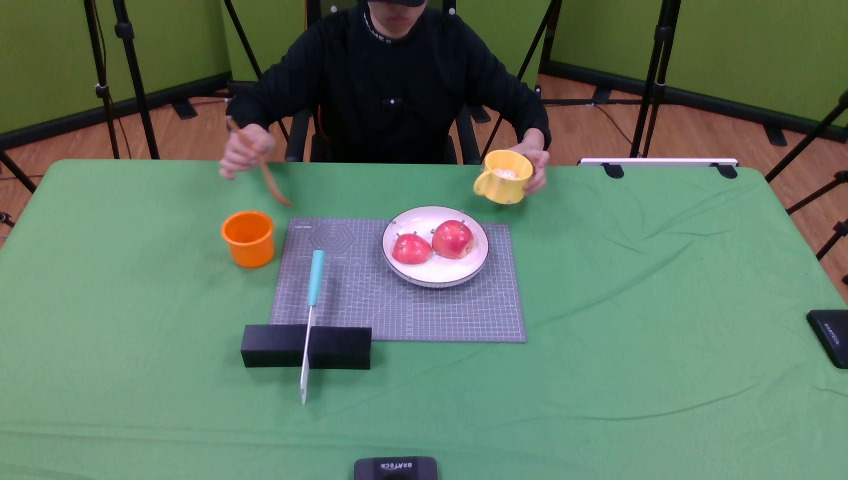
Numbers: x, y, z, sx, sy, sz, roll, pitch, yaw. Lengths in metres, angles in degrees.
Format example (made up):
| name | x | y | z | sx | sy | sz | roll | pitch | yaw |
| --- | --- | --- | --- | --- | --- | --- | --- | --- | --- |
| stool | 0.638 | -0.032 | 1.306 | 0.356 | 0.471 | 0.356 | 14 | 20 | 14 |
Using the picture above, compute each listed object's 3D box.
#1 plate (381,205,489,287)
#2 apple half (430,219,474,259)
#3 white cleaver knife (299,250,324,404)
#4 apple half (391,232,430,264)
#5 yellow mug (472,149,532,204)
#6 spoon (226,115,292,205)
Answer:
| name | x | y | z | sx | sy | sz | roll | pitch | yaw |
| --- | --- | --- | --- | --- | --- | --- | --- | --- | --- |
| plate | 0.021 | 0.015 | 1.170 | 0.209 | 0.038 | 0.208 | 2 | 46 | -2 |
| apple half | 0.056 | -0.008 | 1.172 | 0.081 | 0.053 | 0.074 | -33 | 59 | -31 |
| white cleaver knife | -0.194 | 0.134 | 1.019 | 0.021 | 0.066 | 0.284 | 5 | 50 | -6 |
| apple half | -0.024 | 0.009 | 1.163 | 0.081 | 0.033 | 0.081 | 2 | 43 | -2 |
| yellow mug | 0.151 | -0.126 | 1.227 | 0.131 | 0.064 | 0.099 | -21 | 52 | -29 |
| spoon | -0.289 | -0.137 | 1.066 | 0.021 | 0.195 | 0.041 | -33 | 30 | -12 |
